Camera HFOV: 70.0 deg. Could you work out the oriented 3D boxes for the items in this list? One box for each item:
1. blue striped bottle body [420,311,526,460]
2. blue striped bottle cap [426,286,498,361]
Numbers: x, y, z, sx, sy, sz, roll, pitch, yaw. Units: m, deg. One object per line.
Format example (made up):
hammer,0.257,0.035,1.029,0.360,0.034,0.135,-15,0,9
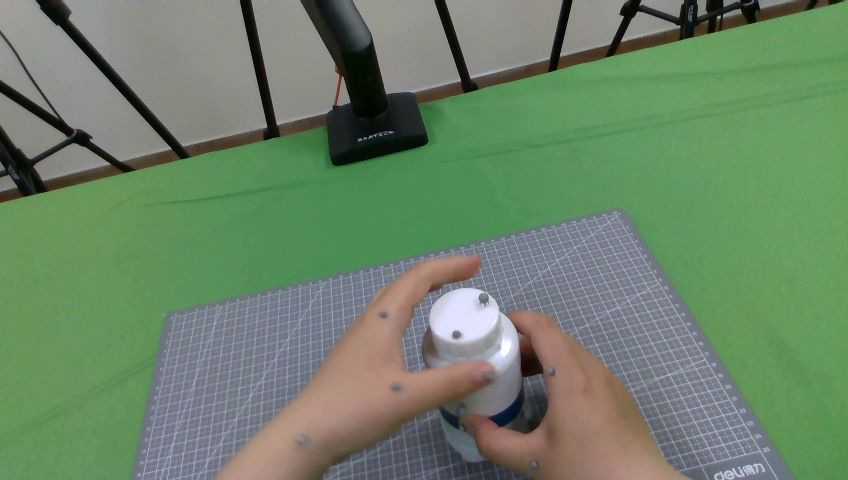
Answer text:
blue striped bottle body,0.034,0.089,0.403,0.063,0.122,0.062,-7,42,6
blue striped bottle cap,0.023,0.050,0.368,0.044,0.021,0.044,0,48,0
